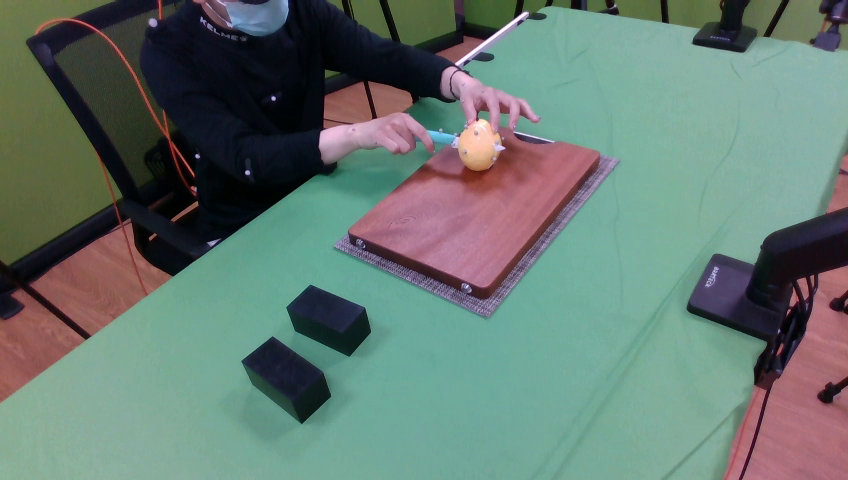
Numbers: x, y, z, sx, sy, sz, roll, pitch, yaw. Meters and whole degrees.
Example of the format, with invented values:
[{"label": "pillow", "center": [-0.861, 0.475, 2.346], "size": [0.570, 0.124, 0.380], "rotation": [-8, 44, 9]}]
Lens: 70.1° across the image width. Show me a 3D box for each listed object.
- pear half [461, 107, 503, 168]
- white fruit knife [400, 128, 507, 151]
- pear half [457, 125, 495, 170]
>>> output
[{"label": "pear half", "center": [0.102, -0.185, 1.057], "size": [0.076, 0.110, 0.056], "rotation": [11, 39, 19]}, {"label": "white fruit knife", "center": [0.049, -0.176, 1.063], "size": [0.206, 0.027, 0.016], "rotation": [11, 37, 22]}, {"label": "pear half", "center": [0.086, -0.154, 1.039], "size": [0.070, 0.088, 0.031], "rotation": [14, 48, 14]}]
